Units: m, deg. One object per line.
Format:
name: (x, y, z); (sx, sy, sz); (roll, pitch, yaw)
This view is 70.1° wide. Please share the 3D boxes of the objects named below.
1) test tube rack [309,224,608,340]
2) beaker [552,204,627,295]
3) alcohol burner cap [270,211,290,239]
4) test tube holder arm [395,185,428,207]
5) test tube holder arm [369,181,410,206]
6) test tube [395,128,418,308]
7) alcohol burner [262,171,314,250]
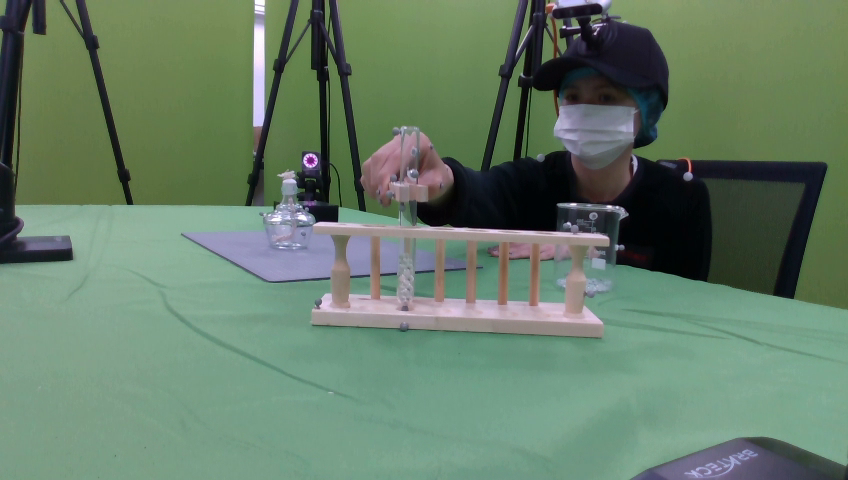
test tube rack: (0.028, 0.032, 0.527); (0.242, 0.085, 0.067); (3, 7, 0)
beaker: (0.191, 0.010, 0.708); (0.083, 0.100, 0.074); (8, 9, 33)
alcohol burner cap: (-0.246, -0.025, 1.035); (0.034, 0.048, 0.034); (2, 8, 0)
test tube holder arm: (-0.017, -0.039, 0.521); (0.010, 0.015, 0.087); (6, 6, -22)
test tube holder arm: (-0.035, -0.045, 0.562); (0.013, 0.015, 0.178); (8, 6, -15)
test tube: (-0.014, -0.017, 0.501); (0.017, 0.150, 0.017); (2, 10, 0)
alcohol burner: (-0.205, -0.044, 0.913); (0.078, 0.119, 0.078); (1, 9, 0)
